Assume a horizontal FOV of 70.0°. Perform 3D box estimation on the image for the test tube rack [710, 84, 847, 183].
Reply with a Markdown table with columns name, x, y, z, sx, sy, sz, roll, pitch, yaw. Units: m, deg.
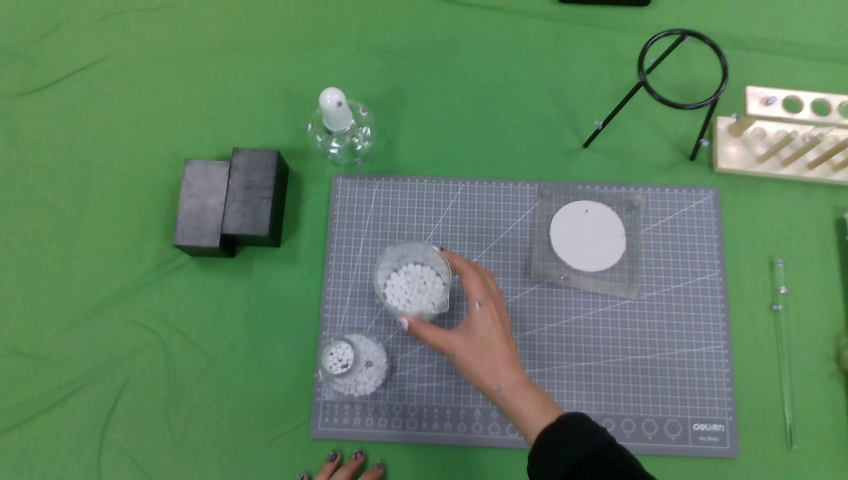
| name | x | y | z | sx | sy | sz | roll | pitch | yaw |
| --- | --- | --- | --- | --- | --- | --- | --- | --- | --- |
| test tube rack | 0.460 | -0.113 | 0.675 | 0.242 | 0.085 | 0.066 | 6 | 76 | 2 |

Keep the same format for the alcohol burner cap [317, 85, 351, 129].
| name | x | y | z | sx | sy | sz | roll | pitch | yaw |
| --- | --- | --- | --- | --- | --- | --- | --- | --- | --- |
| alcohol burner cap | -0.096 | -0.143 | 0.636 | 0.034 | 0.048 | 0.033 | 0 | 70 | 0 |

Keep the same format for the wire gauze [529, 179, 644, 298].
| name | x | y | z | sx | sy | sz | roll | pitch | yaw |
| --- | --- | --- | --- | --- | --- | --- | --- | --- | --- |
| wire gauze | 0.185 | -0.004 | 0.688 | 0.125 | 0.011 | 0.121 | 11 | 76 | 0 |

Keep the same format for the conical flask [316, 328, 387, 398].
| name | x | y | z | sx | sy | sz | roll | pitch | yaw |
| --- | --- | --- | --- | --- | --- | --- | --- | --- | --- |
| conical flask | -0.078 | 0.119 | 0.601 | 0.075 | 0.122 | 0.075 | 0 | 76 | 1 |

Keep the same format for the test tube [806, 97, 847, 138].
| name | x | y | z | sx | sy | sz | roll | pitch | yaw |
| --- | --- | --- | --- | --- | --- | --- | --- | --- | --- |
| test tube | 0.444 | -0.141 | 0.631 | 0.017 | 0.151 | 0.017 | -1 | 75 | 4 |

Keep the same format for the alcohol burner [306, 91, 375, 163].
| name | x | y | z | sx | sy | sz | roll | pitch | yaw |
| --- | --- | --- | --- | --- | --- | --- | --- | --- | --- |
| alcohol burner | -0.095 | -0.132 | 0.670 | 0.078 | 0.119 | 0.077 | -1 | 77 | 3 |

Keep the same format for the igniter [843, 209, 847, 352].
| name | x | y | z | sx | sy | sz | roll | pitch | yaw |
| --- | --- | --- | --- | --- | --- | --- | --- | --- | --- |
| igniter | 0.482 | 0.098 | 0.653 | 0.057 | 0.025 | 0.275 | 6 | 76 | -8 |

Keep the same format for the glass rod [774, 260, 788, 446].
| name | x | y | z | sx | sy | sz | roll | pitch | yaw |
| --- | --- | --- | --- | --- | --- | --- | --- | --- | --- |
| glass rod | 0.388 | 0.120 | 0.658 | 0.008 | 0.008 | 0.199 | 4 | 79 | 1 |

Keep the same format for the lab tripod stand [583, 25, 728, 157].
| name | x | y | z | sx | sy | sz | roll | pitch | yaw |
| --- | --- | --- | --- | --- | --- | --- | --- | --- | --- |
| lab tripod stand | 0.255 | -0.156 | 0.663 | 0.148 | 0.132 | 0.147 | 0 | 78 | 1 |

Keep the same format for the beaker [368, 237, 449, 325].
| name | x | y | z | sx | sy | sz | roll | pitch | yaw |
| --- | --- | --- | --- | --- | --- | --- | --- | --- | --- |
| beaker | -0.010 | 0.047 | 0.614 | 0.083 | 0.101 | 0.074 | 42 | 79 | 10 |
